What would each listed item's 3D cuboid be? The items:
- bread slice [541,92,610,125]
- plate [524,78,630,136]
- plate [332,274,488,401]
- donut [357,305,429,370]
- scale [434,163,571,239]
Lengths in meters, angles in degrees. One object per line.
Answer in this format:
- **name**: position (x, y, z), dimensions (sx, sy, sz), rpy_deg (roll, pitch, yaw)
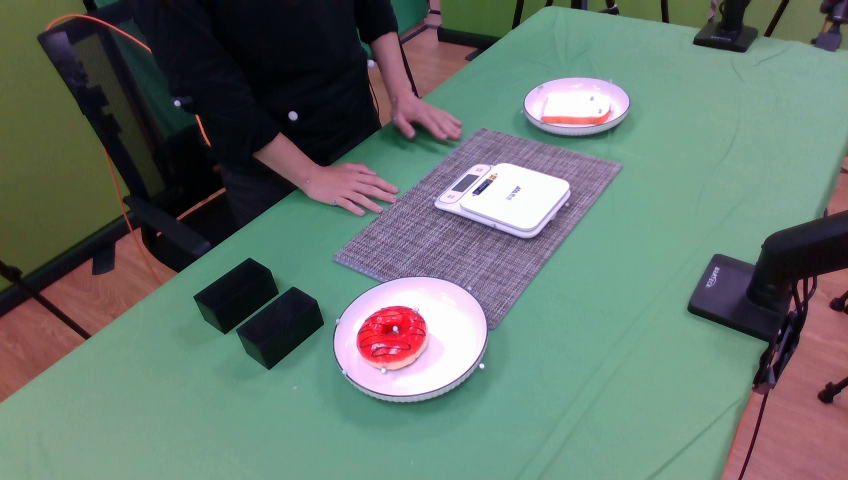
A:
- **bread slice**: position (0.310, -0.268, 1.227), dimensions (0.131, 0.019, 0.105), rpy_deg (7, 43, 14)
- **plate**: position (0.307, -0.265, 1.223), dimensions (0.209, 0.038, 0.208), rpy_deg (-4, 40, 4)
- **plate**: position (-0.017, 0.130, 0.808), dimensions (0.207, 0.039, 0.206), rpy_deg (-4, 41, 4)
- **donut**: position (-0.041, 0.127, 0.798), dimensions (0.099, 0.048, 0.098), rpy_deg (-7, 40, 7)
- **scale**: position (0.132, -0.075, 1.025), dimensions (0.199, 0.032, 0.149), rpy_deg (22, 48, 30)
